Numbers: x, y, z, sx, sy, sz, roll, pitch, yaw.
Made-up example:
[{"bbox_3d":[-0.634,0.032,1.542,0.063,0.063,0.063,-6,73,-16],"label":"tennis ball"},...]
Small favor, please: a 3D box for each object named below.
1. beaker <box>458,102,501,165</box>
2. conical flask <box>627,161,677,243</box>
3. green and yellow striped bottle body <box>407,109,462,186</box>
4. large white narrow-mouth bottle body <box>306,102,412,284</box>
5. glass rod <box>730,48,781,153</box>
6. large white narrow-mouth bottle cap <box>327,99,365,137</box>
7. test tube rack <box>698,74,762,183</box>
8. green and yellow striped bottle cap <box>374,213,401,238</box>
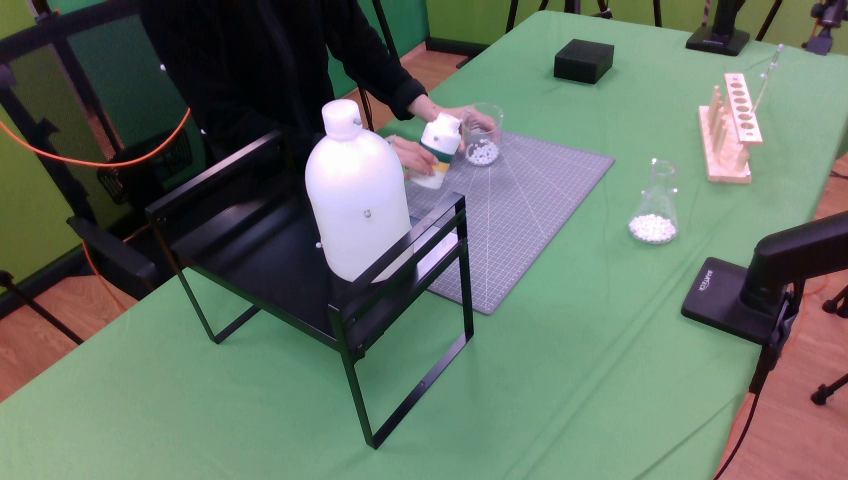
[{"bbox_3d":[0.104,-0.194,1.110,0.084,0.101,0.073,-28,62,-10],"label":"beaker"},{"bbox_3d":[0.355,-0.061,0.921,0.075,0.122,0.075,-4,41,4],"label":"conical flask"},{"bbox_3d":[0.021,-0.155,1.003,0.063,0.119,0.063,21,20,-7],"label":"green and yellow striped bottle body"},{"bbox_3d":[-0.070,-0.052,0.637,0.102,0.195,0.101,-3,40,3],"label":"large white narrow-mouth bottle body"},{"bbox_3d":[0.554,-0.228,1.015,0.008,0.200,0.008,1,44,-1],"label":"glass rod"},{"bbox_3d":[-0.076,-0.117,0.582,0.038,0.024,0.037,-3,40,3],"label":"large white narrow-mouth bottle cap"},{"bbox_3d":[0.547,-0.208,1.095,0.066,0.085,0.242,5,42,15],"label":"test tube rack"},{"bbox_3d":[-0.061,-0.025,1.016,0.045,0.020,0.045,-2,42,2],"label":"green and yellow striped bottle cap"}]
